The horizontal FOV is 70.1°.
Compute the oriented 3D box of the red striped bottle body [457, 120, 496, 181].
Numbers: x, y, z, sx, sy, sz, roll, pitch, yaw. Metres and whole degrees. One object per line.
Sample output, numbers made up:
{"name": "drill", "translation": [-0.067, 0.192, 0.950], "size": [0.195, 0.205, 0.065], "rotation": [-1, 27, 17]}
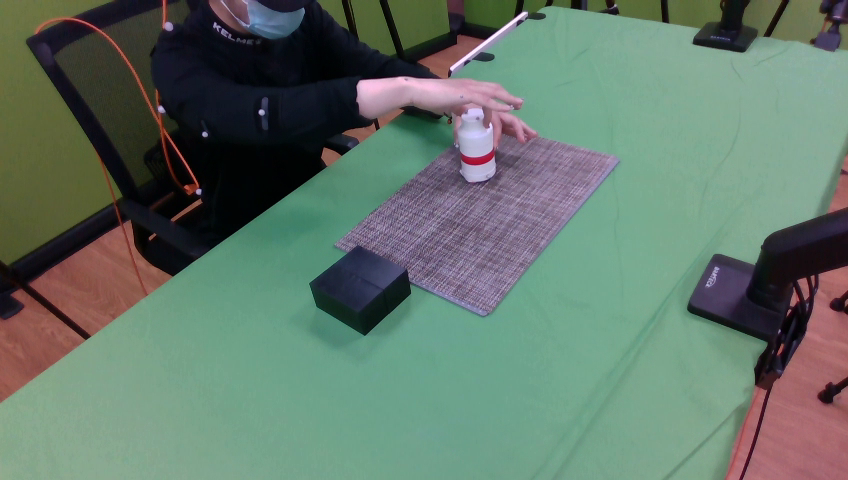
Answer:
{"name": "red striped bottle body", "translation": [0.093, -0.168, 1.063], "size": [0.063, 0.120, 0.062], "rotation": [-6, 43, 6]}

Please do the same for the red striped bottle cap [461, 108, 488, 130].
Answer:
{"name": "red striped bottle cap", "translation": [0.085, -0.207, 1.028], "size": [0.044, 0.018, 0.044], "rotation": [-8, 44, 8]}
